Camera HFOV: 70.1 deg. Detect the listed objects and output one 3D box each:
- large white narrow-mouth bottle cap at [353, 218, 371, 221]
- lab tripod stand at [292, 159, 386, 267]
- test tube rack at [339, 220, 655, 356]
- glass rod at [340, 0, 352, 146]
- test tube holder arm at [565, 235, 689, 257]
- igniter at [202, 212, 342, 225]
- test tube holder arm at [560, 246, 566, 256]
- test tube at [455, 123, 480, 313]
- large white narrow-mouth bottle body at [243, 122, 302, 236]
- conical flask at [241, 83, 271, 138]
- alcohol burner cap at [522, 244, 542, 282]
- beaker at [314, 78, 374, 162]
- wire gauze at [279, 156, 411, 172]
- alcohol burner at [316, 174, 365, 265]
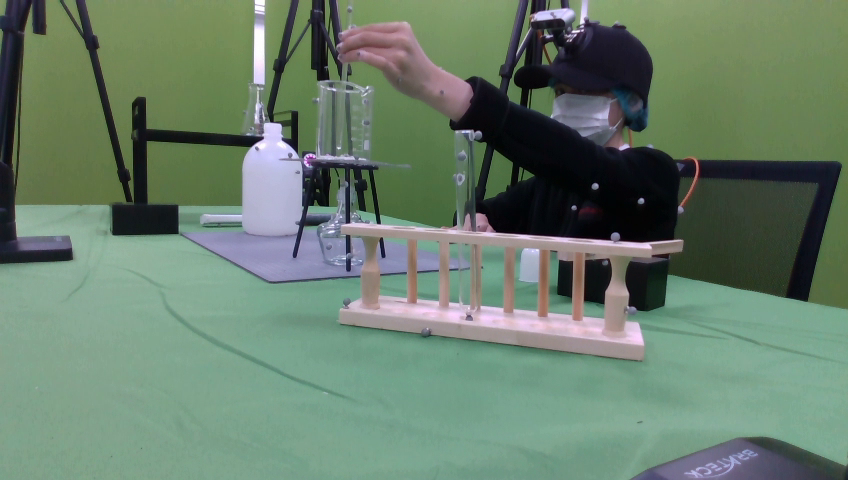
[{"bbox_3d":[-0.121,-0.029,1.184,0.038,0.024,0.037,2,8,0],"label":"large white narrow-mouth bottle cap"},{"bbox_3d":[-0.105,-0.039,0.797,0.148,0.131,0.148,2,5,0],"label":"lab tripod stand"},{"bbox_3d":[0.056,0.032,0.495,0.242,0.085,0.067,4,7,15],"label":"test tube rack"},{"bbox_3d":[-0.098,-0.217,0.757,0.008,0.199,0.008,5,16,-1],"label":"glass rod"},{"bbox_3d":[0.216,0.006,0.629,0.179,0.015,0.013,-3,11,-30],"label":"test tube holder arm"},{"bbox_3d":[-0.298,-0.044,1.216,0.278,0.025,0.057,-3,-2,-32],"label":"igniter"},{"bbox_3d":[0.173,0.007,0.611,0.088,0.015,0.010,-3,11,-29],"label":"test tube holder arm"},{"bbox_3d":[0.034,-0.016,0.476,0.017,0.150,0.017,-2,9,1],"label":"test tube"},{"bbox_3d":[-0.264,-0.109,1.061,0.102,0.194,0.102,2,8,0],"label":"large white narrow-mouth bottle body"},{"bbox_3d":[-0.384,-0.297,1.393,0.075,0.122,0.075,2,7,0],"label":"conical flask"},{"bbox_3d":[0.137,0.026,0.740,0.034,0.048,0.034,1,6,0],"label":"alcohol burner cap"},{"bbox_3d":[-0.101,-0.150,0.773,0.074,0.100,0.083,-2,8,-40],"label":"beaker"},{"bbox_3d":[-0.103,-0.103,0.785,0.121,0.011,0.126,11,8,42],"label":"wire gauze"},{"bbox_3d":[-0.102,-0.028,0.790,0.078,0.119,0.078,0,6,0],"label":"alcohol burner"}]
